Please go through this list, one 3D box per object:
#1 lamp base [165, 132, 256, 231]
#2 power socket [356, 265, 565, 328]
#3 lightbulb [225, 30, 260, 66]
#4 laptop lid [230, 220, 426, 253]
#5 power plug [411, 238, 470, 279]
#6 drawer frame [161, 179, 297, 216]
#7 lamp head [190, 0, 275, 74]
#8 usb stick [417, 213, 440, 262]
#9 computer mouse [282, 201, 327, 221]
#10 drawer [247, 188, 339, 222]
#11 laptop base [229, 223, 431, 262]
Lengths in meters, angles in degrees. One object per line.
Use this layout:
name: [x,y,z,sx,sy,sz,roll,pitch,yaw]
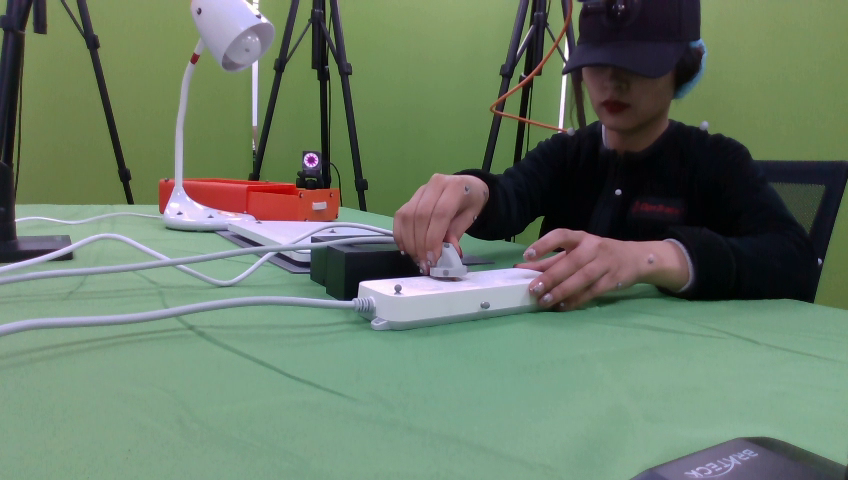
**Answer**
lamp base: [-0.407,-0.112,1.119,0.179,0.180,0.161,-1,7,7]
power socket: [0.041,0.049,0.572,0.228,0.032,0.072,-4,8,-34]
lightbulb: [-0.318,-0.335,1.000,0.107,0.059,0.059,47,15,5]
laptop lid: [-0.143,-0.009,0.942,0.243,0.013,0.355,1,7,-31]
power plug: [0.017,0.025,0.588,0.035,0.052,0.072,-2,4,-23]
drawer frame: [-0.421,-0.089,1.329,0.213,0.082,0.202,4,8,16]
lamp head: [-0.331,-0.355,1.008,0.123,0.112,0.112,43,15,6]
usb stick: [0.005,-0.003,0.721,0.027,0.059,0.021,0,-4,-2]
computer mouse: [-0.254,-0.062,1.292,0.063,0.041,0.117,1,2,10]
drawer: [-0.315,-0.078,1.301,0.211,0.073,0.195,4,8,15]
laptop base: [-0.146,0.002,0.942,0.237,0.023,0.352,2,6,-32]
